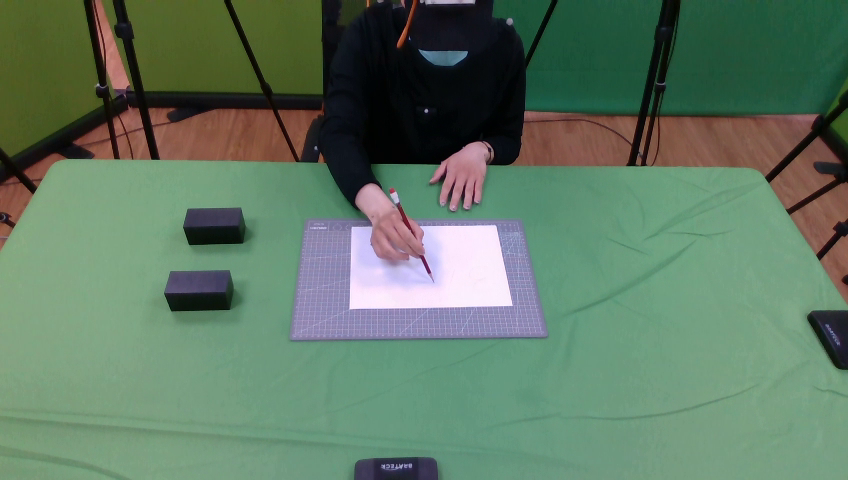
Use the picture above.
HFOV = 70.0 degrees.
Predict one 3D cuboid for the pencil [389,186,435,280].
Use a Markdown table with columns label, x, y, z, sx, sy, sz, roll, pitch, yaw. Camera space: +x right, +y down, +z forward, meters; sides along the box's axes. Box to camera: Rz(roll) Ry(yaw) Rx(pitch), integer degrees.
| label | x | y | z | sx | sy | sz | roll | pitch | yaw |
| --- | --- | --- | --- | --- | --- | --- | --- | --- | --- |
| pencil | -0.020 | -0.010 | 1.107 | 0.012 | 0.194 | 0.012 | -24 | 12 | 6 |
